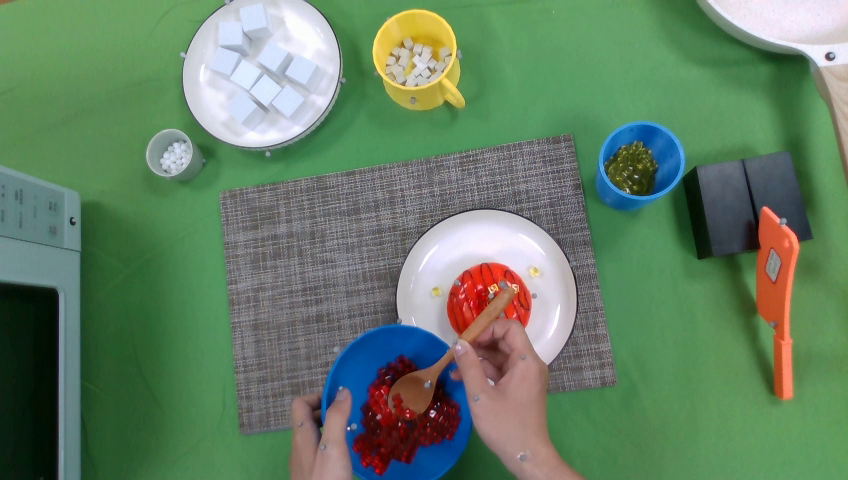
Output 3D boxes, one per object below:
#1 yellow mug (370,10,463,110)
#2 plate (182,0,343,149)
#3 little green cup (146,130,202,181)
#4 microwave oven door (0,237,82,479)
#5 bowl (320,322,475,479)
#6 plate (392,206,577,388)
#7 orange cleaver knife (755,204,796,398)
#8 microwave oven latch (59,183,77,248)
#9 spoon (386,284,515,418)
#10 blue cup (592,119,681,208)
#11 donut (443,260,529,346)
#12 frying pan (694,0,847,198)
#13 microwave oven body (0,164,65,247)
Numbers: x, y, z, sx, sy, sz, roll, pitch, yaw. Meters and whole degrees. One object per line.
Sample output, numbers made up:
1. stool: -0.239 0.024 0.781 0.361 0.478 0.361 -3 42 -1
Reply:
1. yellow mug: 0.001 -0.208 0.737 0.130 0.064 0.100 44 89 9
2. plate: -0.203 -0.215 0.776 0.207 0.039 0.207 -1 82 7
3. little green cup: -0.316 -0.105 0.772 0.061 0.039 0.061 -1 83 6
4. microwave oven door: -0.452 0.172 0.631 0.039 0.245 0.354 -6 81 6
5. bowl: -0.035 0.162 0.597 0.152 0.077 0.150 7 70 -20
6. plate: 0.069 0.065 0.702 0.209 0.038 0.208 -1 83 7
7. orange cleaver knife: 0.373 0.067 0.648 0.012 0.076 0.212 -9 110 6
8. microwave oven latch: -0.456 -0.030 0.761 0.030 0.029 0.079 -3 83 6
9. spoon: 0.024 0.108 0.572 0.041 0.021 0.194 45 122 8
10. blue cup: 0.227 -0.076 0.674 0.092 0.100 0.092 -1 80 6
11. donut: 0.071 0.072 0.689 0.099 0.048 0.099 -1 85 7
12. frying pan: 0.437 -0.248 0.671 0.306 0.103 0.485 -4 74 7
13. microwave oven body: -0.600 0.145 0.656 0.326 0.261 0.440 -6 82 5
